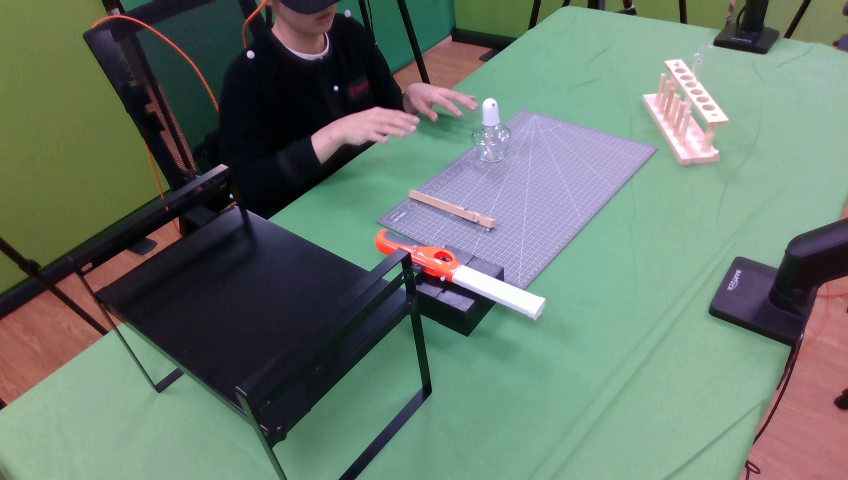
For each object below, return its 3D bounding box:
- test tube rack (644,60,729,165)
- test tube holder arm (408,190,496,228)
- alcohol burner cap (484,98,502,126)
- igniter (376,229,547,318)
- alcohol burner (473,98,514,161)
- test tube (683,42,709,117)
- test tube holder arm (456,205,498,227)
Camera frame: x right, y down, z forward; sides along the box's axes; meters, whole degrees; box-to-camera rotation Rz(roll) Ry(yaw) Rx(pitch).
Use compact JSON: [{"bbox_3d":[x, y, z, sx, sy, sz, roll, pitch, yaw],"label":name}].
[{"bbox_3d":[0.486,-0.246,1.139,0.067,0.085,0.241,-5,41,4],"label":"test tube rack"},{"bbox_3d":[0.044,-0.055,1.029,0.177,0.015,0.013,22,12,30],"label":"test tube holder arm"},{"bbox_3d":[0.124,-0.236,1.101,0.034,0.048,0.033,-6,39,5],"label":"alcohol burner cap"},{"bbox_3d":[0.040,0.041,0.845,0.274,0.025,0.057,22,46,27],"label":"igniter"},{"bbox_3d":[0.127,-0.208,1.123,0.078,0.119,0.077,-5,39,5],"label":"alcohol burner"},{"bbox_3d":[0.499,-0.292,1.115,0.017,0.151,0.017,-3,44,3],"label":"test tube"},{"bbox_3d":[0.083,-0.041,1.011,0.087,0.015,0.010,22,12,32],"label":"test tube holder arm"}]
